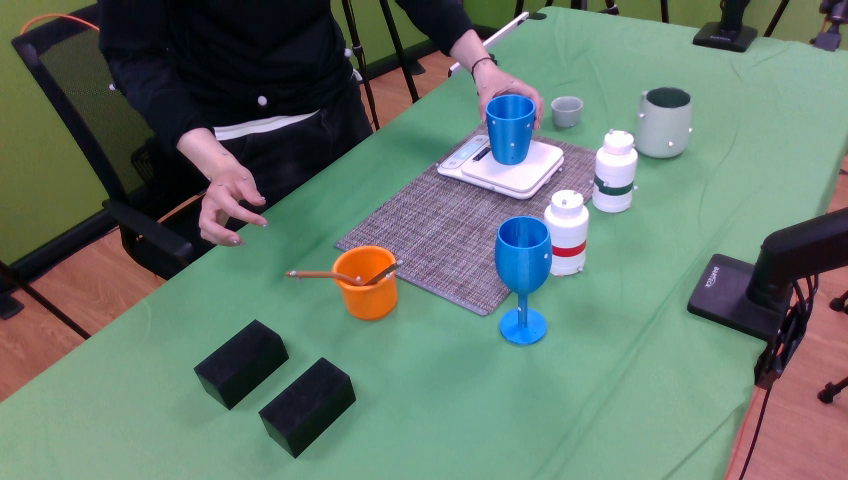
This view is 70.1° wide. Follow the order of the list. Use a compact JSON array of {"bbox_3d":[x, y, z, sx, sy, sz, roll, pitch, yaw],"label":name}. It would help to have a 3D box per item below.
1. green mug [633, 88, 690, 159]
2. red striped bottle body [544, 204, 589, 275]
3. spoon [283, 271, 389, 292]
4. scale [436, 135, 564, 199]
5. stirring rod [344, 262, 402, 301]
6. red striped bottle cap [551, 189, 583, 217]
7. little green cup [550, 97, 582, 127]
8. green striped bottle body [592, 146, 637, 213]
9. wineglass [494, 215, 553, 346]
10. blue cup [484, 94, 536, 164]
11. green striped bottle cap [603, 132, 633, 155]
[{"bbox_3d":[0.423,-0.217,1.100,0.093,0.105,0.124,-16,41,-10],"label":"green mug"},{"bbox_3d":[0.206,-0.011,0.877,0.063,0.120,0.062,-5,41,4],"label":"red striped bottle body"},{"bbox_3d":[-0.117,0.054,0.824,0.041,0.195,0.021,4,81,37],"label":"spoon"},{"bbox_3d":[0.137,-0.141,1.101,0.199,0.032,0.149,22,48,30],"label":"scale"},{"bbox_3d":[-0.071,0.058,0.813,0.014,0.175,0.006,-18,80,-33],"label":"stirring rod"},{"bbox_3d":[0.200,-0.052,0.843,0.044,0.018,0.044,-2,42,2],"label":"red striped bottle cap"},{"bbox_3d":[0.284,-0.255,1.213,0.061,0.039,0.061,-4,41,4],"label":"little green cup"},{"bbox_3d":[0.307,-0.108,0.976,0.063,0.120,0.063,-4,41,4],"label":"green striped bottle body"},{"bbox_3d":[0.127,0.055,0.770,0.074,0.173,0.073,-4,40,4],"label":"wineglass"},{"bbox_3d":[0.147,-0.189,1.052,0.092,0.100,0.092,-3,43,3],"label":"blue cup"},{"bbox_3d":[0.302,-0.149,0.939,0.044,0.020,0.044,-3,40,3],"label":"green striped bottle cap"}]
